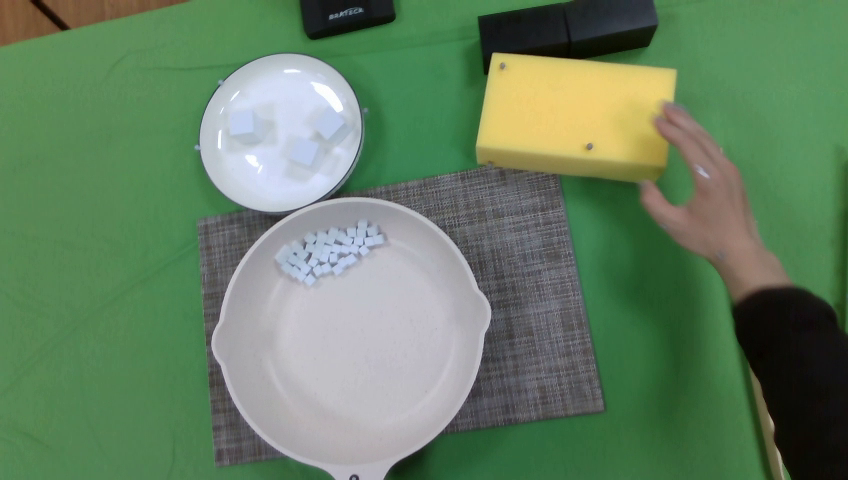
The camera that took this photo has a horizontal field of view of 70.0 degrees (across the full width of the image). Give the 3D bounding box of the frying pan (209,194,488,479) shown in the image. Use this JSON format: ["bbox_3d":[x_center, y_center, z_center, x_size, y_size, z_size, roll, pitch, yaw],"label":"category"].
[{"bbox_3d":[-0.072,0.194,0.644,0.306,0.103,0.484,-7,71,6],"label":"frying pan"}]

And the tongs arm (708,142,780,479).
[{"bbox_3d":[0.352,0.079,0.658,0.028,0.028,0.386,-7,80,4],"label":"tongs arm"}]

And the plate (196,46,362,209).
[{"bbox_3d":[-0.177,-0.137,0.754,0.207,0.039,0.207,-1,80,7],"label":"plate"}]

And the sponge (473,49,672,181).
[{"bbox_3d":[0.168,-0.145,0.701,0.206,0.061,0.117,8,78,8],"label":"sponge"}]

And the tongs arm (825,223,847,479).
[{"bbox_3d":[0.432,0.079,0.644,0.050,0.026,0.383,6,82,9],"label":"tongs arm"}]
